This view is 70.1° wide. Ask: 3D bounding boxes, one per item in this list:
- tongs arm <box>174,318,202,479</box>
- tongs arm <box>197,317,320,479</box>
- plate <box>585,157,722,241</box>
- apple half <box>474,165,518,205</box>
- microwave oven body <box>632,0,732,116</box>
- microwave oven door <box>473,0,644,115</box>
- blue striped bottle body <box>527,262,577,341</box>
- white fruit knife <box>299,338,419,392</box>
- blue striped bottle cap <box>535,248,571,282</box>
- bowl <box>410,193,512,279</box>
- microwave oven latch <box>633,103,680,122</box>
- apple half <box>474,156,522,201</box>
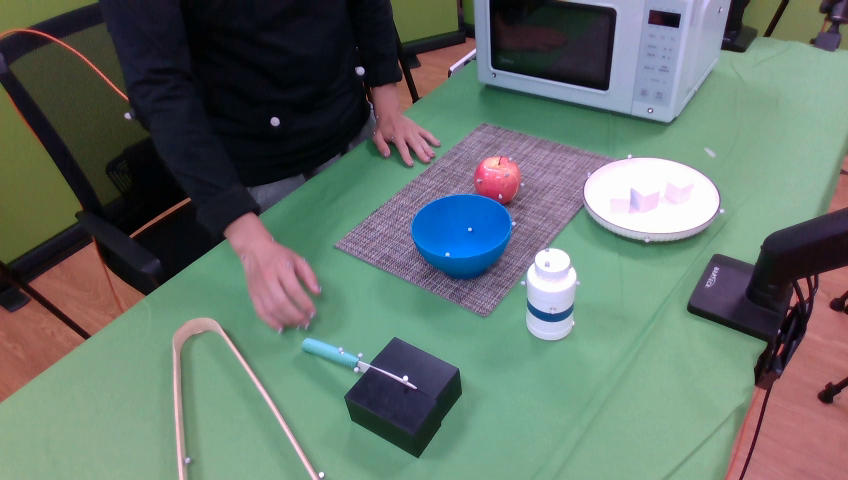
[{"bbox_3d":[-0.272,0.234,0.723,0.051,0.026,0.381,-19,40,-14],"label":"tongs arm"},{"bbox_3d":[-0.199,0.207,0.750,0.028,0.028,0.384,-31,45,-22],"label":"tongs arm"},{"bbox_3d":[0.367,-0.063,0.979,0.207,0.039,0.206,-4,40,4],"label":"plate"},{"bbox_3d":[0.115,-0.084,1.005,0.081,0.081,0.033,10,41,20],"label":"apple half"},{"bbox_3d":[0.377,-0.462,1.267,0.438,0.261,0.327,21,48,30],"label":"microwave oven body"},{"bbox_3d":[0.257,-0.396,1.199,0.353,0.245,0.039,21,48,29],"label":"microwave oven door"},{"bbox_3d":[0.165,0.070,0.786,0.063,0.121,0.063,-4,41,4],"label":"blue striped bottle body"},{"bbox_3d":[-0.087,0.156,0.762,0.206,0.027,0.016,11,44,36],"label":"white fruit knife"},{"bbox_3d":[0.161,0.031,0.753,0.044,0.021,0.044,-4,42,4],"label":"blue striped bottle cap"},{"bbox_3d":[0.058,0.005,0.905,0.151,0.077,0.150,-4,40,4],"label":"bowl"},{"bbox_3d":[0.443,-0.249,1.157,0.078,0.029,0.030,20,48,29],"label":"microwave oven latch"},{"bbox_3d":[0.130,-0.108,1.031,0.080,0.075,0.053,8,40,22],"label":"apple half"}]
